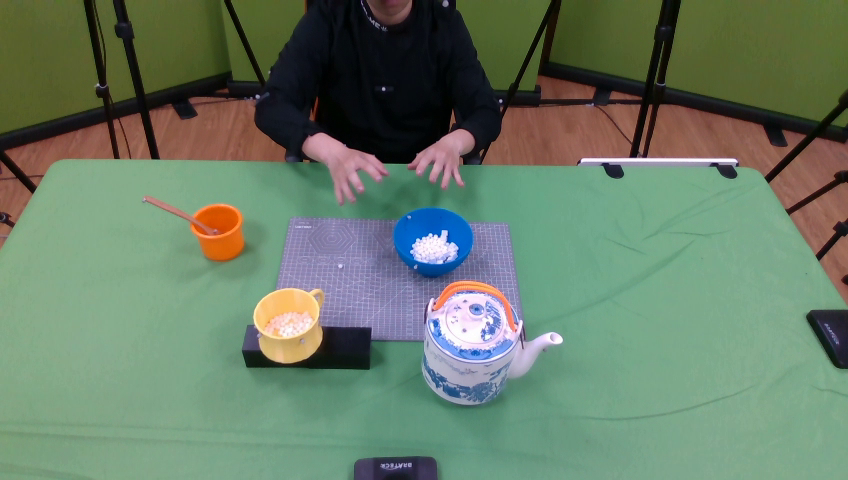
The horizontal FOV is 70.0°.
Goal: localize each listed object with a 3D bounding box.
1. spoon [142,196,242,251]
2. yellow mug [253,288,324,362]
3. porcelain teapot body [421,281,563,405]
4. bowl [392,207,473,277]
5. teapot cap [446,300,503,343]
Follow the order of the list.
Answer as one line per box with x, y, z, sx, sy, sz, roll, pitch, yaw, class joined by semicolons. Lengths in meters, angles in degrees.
-0.421;-0.032;1.108;0.021;0.195;0.041;-32;40;28;spoon
-0.205;0.124;0.963;0.099;0.064;0.130;27;49;21;yellow mug
0.101;0.148;0.923;0.205;0.226;0.144;12;46;7;porcelain teapot body
0.014;0.016;1.140;0.151;0.077;0.150;2;46;-2;bowl
0.075;0.115;0.898;0.085;0.044;0.084;4;45;-4;teapot cap
